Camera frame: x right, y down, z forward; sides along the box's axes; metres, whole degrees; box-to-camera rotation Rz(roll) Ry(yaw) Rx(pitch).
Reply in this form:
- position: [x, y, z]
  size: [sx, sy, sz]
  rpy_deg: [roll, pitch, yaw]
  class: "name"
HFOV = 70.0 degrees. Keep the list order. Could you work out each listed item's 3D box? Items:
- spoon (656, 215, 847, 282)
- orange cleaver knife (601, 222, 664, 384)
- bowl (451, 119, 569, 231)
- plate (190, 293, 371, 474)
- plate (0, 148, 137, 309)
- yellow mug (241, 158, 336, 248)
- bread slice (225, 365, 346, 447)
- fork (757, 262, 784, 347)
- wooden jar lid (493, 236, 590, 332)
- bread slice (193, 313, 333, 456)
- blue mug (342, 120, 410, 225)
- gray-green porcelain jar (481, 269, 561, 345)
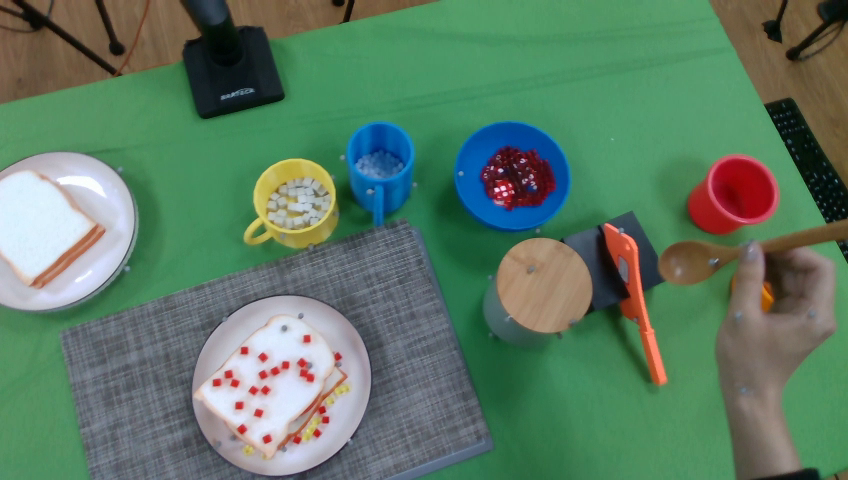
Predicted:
- position: [0.265, 0.004, 0.485]
  size: [0.022, 0.193, 0.041]
  rpy_deg: [-9, 83, -25]
  class: "spoon"
- position: [0.261, 0.079, 0.762]
  size: [0.012, 0.077, 0.212]
  rpy_deg: [-19, 102, -9]
  class: "orange cleaver knife"
- position: [0.106, -0.074, 0.799]
  size: [0.151, 0.077, 0.150]
  rpy_deg: [1, 73, -4]
  class: "bowl"
- position: [-0.167, 0.167, 0.721]
  size: [0.209, 0.038, 0.208]
  rpy_deg: [1, 73, -4]
  class: "plate"
- position: [-0.463, -0.013, 0.757]
  size: [0.208, 0.039, 0.206]
  rpy_deg: [1, 73, -4]
  class: "plate"
- position: [-0.177, -0.037, 0.772]
  size: [0.131, 0.064, 0.099]
  rpy_deg: [-39, 79, -13]
  class: "yellow mug"
- position: [-0.173, 0.179, 0.722]
  size: [0.104, 0.019, 0.131]
  rpy_deg: [36, 70, 8]
  class: "bread slice"
- position: [0.426, 0.075, 0.741]
  size: [0.028, 0.018, 0.207]
  rpy_deg: [44, 31, 3]
  class: "fork"
- position: [0.129, 0.049, 0.672]
  size: [0.108, 0.021, 0.108]
  rpy_deg: [2, 74, -6]
  class: "wooden jar lid"
- position: [-0.168, 0.148, 0.665]
  size: [0.107, 0.018, 0.134]
  rpy_deg: [36, 68, 1]
  class: "bread slice"
- position: [-0.061, -0.077, 0.773]
  size: [0.082, 0.106, 0.116]
  rpy_deg: [2, 73, -3]
  class: "blue mug"
- position: [0.126, 0.069, 0.732]
  size: [0.106, 0.127, 0.105]
  rpy_deg: [1, 73, -4]
  class: "gray-green porcelain jar"
